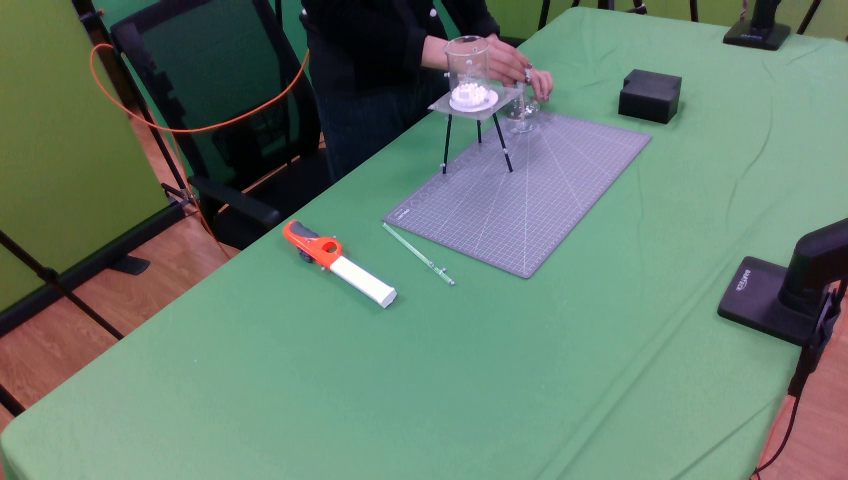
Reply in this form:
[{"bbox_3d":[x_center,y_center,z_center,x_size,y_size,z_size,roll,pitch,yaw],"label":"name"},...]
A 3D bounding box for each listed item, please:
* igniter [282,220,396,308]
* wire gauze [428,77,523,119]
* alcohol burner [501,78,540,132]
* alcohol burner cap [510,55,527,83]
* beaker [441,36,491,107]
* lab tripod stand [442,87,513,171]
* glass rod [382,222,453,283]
[{"bbox_3d":[-0.146,0.032,0.966,0.274,0.025,0.057,30,64,37],"label":"igniter"},{"bbox_3d":[0.091,-0.249,1.063,0.120,0.011,0.125,24,48,30],"label":"wire gauze"},{"bbox_3d":[0.190,-0.275,1.194,0.078,0.119,0.077,-4,43,4],"label":"alcohol burner"},{"bbox_3d":[0.179,-0.328,1.152,0.034,0.048,0.033,-3,39,3],"label":"alcohol burner cap"},{"bbox_3d":[0.074,-0.287,1.036,0.084,0.101,0.073,-1,41,8],"label":"beaker"},{"bbox_3d":[0.097,-0.200,1.108,0.148,0.132,0.147,-4,40,4],"label":"lab tripod stand"},{"bbox_3d":[-0.014,0.016,0.976,0.008,0.008,0.198,-30,44,-22],"label":"glass rod"}]
